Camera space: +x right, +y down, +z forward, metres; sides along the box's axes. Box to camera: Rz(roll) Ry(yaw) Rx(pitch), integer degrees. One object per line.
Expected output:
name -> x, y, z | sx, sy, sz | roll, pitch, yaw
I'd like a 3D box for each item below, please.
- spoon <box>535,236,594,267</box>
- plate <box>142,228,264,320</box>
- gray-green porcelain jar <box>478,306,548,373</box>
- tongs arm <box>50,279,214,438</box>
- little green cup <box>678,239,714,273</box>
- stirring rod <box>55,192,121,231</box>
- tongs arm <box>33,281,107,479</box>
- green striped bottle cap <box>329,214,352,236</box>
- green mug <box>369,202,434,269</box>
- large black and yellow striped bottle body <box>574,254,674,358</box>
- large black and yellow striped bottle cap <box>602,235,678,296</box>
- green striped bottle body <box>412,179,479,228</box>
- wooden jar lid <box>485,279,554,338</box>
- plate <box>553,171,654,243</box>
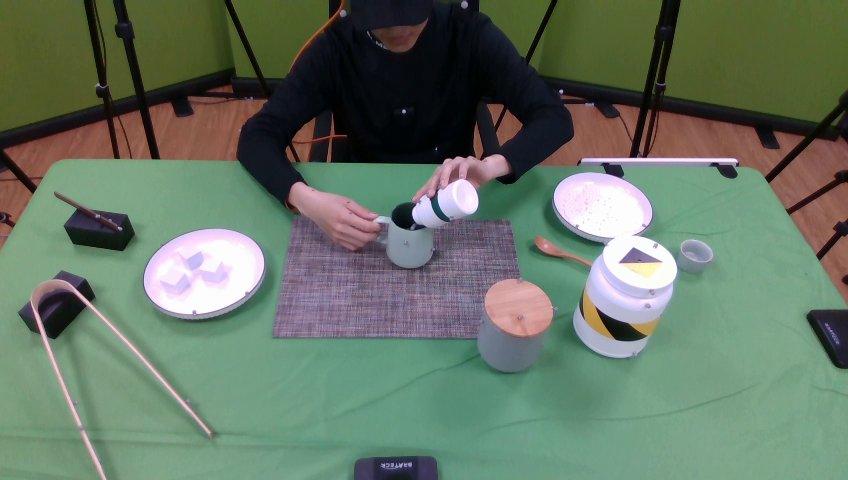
spoon -> 0.303, 0.040, 1.178 | 0.193, 0.022, 0.041 | 25, 30, 19
plate -> -0.394, 0.064, 1.095 | 0.208, 0.039, 0.206 | 2, 46, -2
gray-green porcelain jar -> 0.144, 0.148, 0.989 | 0.106, 0.127, 0.105 | 2, 50, -2
tongs arm -> -0.459, 0.178, 0.949 | 0.386, 0.028, 0.028 | 37, 60, 17
little green cup -> 0.530, 0.033, 1.190 | 0.061, 0.039, 0.061 | 2, 47, -2
stirring rod -> -0.632, -0.055, 1.138 | 0.175, 0.014, 0.006 | 24, 50, 19
tongs arm -> -0.517, 0.214, 0.910 | 0.051, 0.026, 0.383 | -28, 63, -27
green striped bottle cap -> -0.167, -0.030, 1.214 | 0.044, 0.020, 0.044 | 1, 51, -1
green mug -> -0.042, -0.010, 1.140 | 0.125, 0.105, 0.092 | 8, 46, 3
large black and yellow striped bottle body -> 0.335, 0.096, 1.014 | 0.131, 0.185, 0.130 | 2, 46, -2
large black and yellow striped bottle cap -> 0.340, 0.037, 0.955 | 0.115, 0.019, 0.114 | 2, 47, -2
green striped bottle body -> 0.032, -0.060, 1.054 | 0.119, 0.063, 0.063 | -19, 27, 44
wooden jar lid -> 0.147, 0.108, 0.940 | 0.108, 0.021, 0.107 | 4, 47, -4
plate -> 0.373, -0.066, 1.275 | 0.209, 0.038, 0.208 | 2, 46, -2
